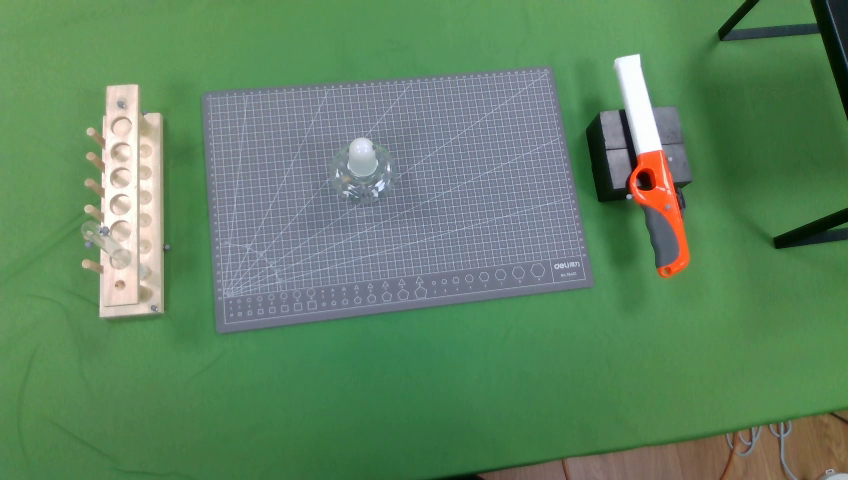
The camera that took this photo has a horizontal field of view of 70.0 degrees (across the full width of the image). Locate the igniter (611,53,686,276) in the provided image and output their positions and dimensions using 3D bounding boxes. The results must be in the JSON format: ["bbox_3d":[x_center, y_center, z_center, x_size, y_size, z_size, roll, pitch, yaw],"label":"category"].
[{"bbox_3d":[0.267,-0.094,0.724,0.057,0.025,0.275,-9,78,4],"label":"igniter"}]

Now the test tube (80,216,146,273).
[{"bbox_3d":[-0.310,0.008,0.611,0.017,0.151,0.017,2,71,-7],"label":"test tube"}]

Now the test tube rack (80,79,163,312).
[{"bbox_3d":[-0.338,-0.047,0.671,0.067,0.085,0.241,-4,78,-6],"label":"test tube rack"}]

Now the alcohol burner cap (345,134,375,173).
[{"bbox_3d":[-0.069,-0.097,0.655,0.034,0.048,0.033,2,70,-5],"label":"alcohol burner cap"}]

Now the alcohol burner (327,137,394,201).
[{"bbox_3d":[-0.072,-0.087,0.690,0.078,0.119,0.077,1,78,-4],"label":"alcohol burner"}]
